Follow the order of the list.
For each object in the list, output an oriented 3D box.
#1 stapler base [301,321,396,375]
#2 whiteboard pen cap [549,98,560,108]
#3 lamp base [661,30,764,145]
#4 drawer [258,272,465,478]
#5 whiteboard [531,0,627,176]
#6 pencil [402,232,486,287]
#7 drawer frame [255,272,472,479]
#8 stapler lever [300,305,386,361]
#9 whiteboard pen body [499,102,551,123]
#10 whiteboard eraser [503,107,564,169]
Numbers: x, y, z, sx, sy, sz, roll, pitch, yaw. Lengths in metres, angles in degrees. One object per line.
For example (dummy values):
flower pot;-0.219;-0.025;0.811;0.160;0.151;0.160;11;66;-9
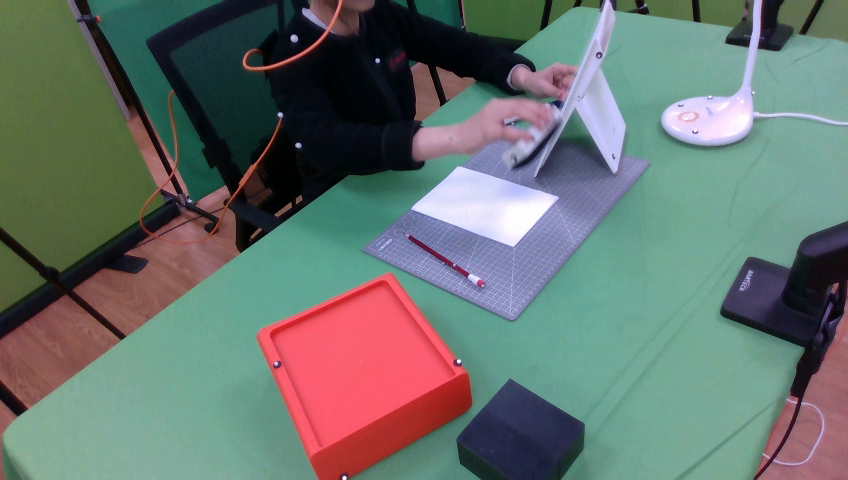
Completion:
stapler base;-0.103;0.138;0.814;0.131;0.024;0.041;-20;38;-12
whiteboard pen cap;0.276;-0.287;1.269;0.033;0.018;0.018;-17;41;-14
lamp base;0.535;-0.287;1.096;0.179;0.181;0.159;-10;40;-4
drawer;-0.082;0.159;0.764;0.195;0.073;0.210;-23;43;-17
whiteboard;0.321;-0.258;1.050;0.143;0.306;0.217;22;46;6
pencil;0.026;0.027;0.948;0.012;0.012;0.192;-34;45;-26
drawer frame;-0.079;0.161;0.760;0.202;0.083;0.211;-24;43;-18
stapler lever;-0.107;0.121;0.799;0.118;0.040;0.026;-19;38;-13
whiteboard pen body;0.221;-0.268;1.256;0.141;0.017;0.017;-19;41;-14
whiteboard eraser;0.172;-0.156;0.932;0.042;0.055;0.113;44;59;-4
